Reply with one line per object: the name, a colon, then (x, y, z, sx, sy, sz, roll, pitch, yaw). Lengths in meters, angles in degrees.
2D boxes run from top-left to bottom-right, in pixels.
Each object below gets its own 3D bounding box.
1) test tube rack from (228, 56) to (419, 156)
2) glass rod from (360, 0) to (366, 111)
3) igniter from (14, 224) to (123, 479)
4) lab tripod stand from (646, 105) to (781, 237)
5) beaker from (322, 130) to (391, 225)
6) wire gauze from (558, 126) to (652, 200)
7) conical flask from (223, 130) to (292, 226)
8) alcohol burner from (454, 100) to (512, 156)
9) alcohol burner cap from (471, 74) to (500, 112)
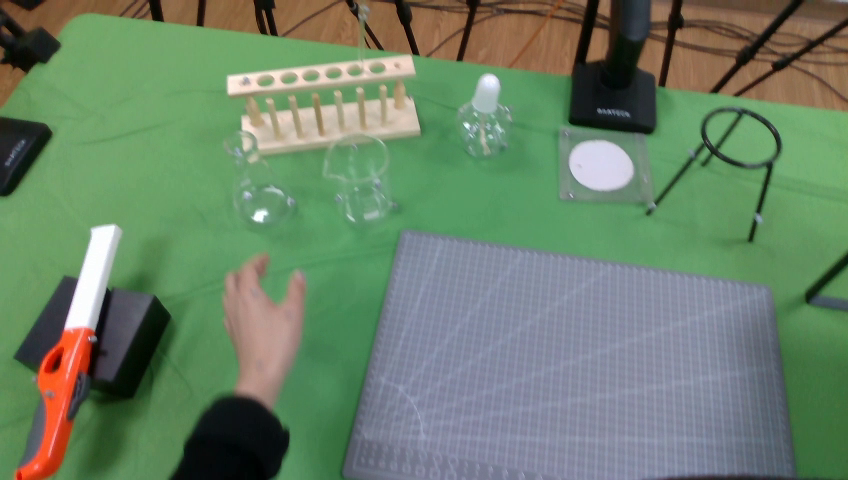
test tube rack: (-0.131, -0.181, 0.820, 0.243, 0.086, 0.066, -8, 58, -6)
glass rod: (-0.077, -0.238, 0.778, 0.008, 0.201, 0.008, 3, 57, -4)
igniter: (-0.358, 0.102, 0.620, 0.057, 0.025, 0.274, -8, 57, 8)
lab tripod stand: (0.360, -0.083, 0.734, 0.148, 0.132, 0.147, 1, 57, -2)
beaker: (-0.080, -0.071, 0.744, 0.084, 0.101, 0.073, -28, 61, -16)
wire gauze: (0.242, -0.105, 0.820, 0.121, 0.011, 0.124, 5, 58, 2)
conical flask: (-0.208, -0.078, 0.733, 0.075, 0.123, 0.074, 0, 57, 0)
alcohol burner: (0.080, -0.168, 0.798, 0.078, 0.120, 0.077, 1, 56, -1)
alcohol burner cap: (0.080, -0.190, 0.768, 0.034, 0.048, 0.033, 5, 59, -8)
